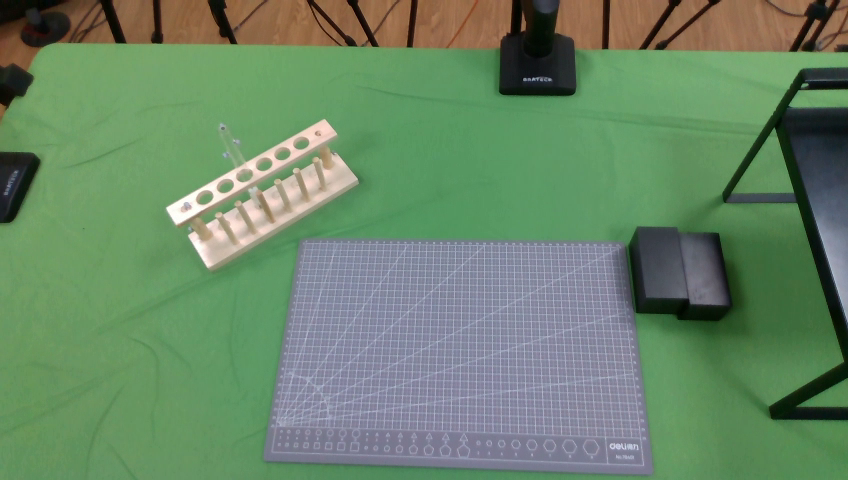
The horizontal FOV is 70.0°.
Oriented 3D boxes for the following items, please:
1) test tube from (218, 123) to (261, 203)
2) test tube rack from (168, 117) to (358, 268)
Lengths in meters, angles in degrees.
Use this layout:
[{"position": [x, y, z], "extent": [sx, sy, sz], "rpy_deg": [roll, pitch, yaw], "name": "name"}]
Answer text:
[{"position": [-0.240, -0.097, 0.804], "extent": [0.017, 0.151, 0.017], "rpy_deg": [-2, 57, 3], "name": "test tube"}, {"position": [-0.216, -0.066, 0.843], "extent": [0.242, 0.086, 0.066], "rpy_deg": [-33, 65, -13], "name": "test tube rack"}]
